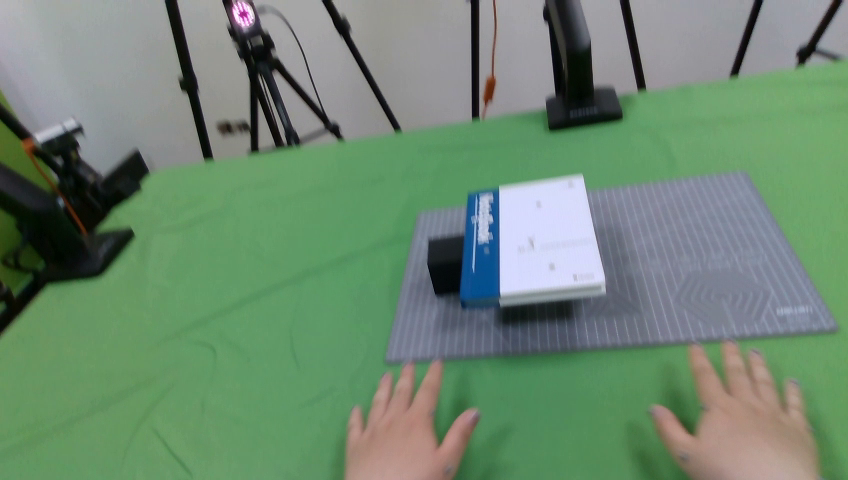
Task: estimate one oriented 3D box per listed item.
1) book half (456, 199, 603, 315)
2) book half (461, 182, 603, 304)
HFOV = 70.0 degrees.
[{"bbox_3d":[0.116,0.003,0.695,0.148,0.016,0.208,-7,34,12],"label":"book half"},{"bbox_3d":[0.118,-0.003,0.691,0.143,0.007,0.208,-7,34,12],"label":"book half"}]
